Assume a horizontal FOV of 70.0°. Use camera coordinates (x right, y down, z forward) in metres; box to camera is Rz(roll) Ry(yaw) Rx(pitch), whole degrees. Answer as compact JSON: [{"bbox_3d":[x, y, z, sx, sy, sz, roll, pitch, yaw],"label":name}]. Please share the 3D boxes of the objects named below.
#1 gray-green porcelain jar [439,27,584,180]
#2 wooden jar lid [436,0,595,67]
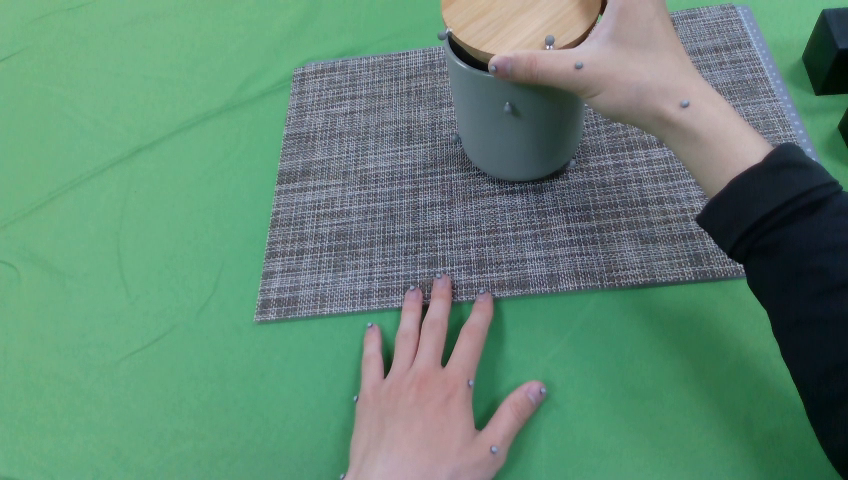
[{"bbox_3d":[0.072,-0.119,0.486,0.106,0.128,0.105,-5,56,8],"label":"gray-green porcelain jar"},{"bbox_3d":[0.063,-0.160,0.420,0.108,0.021,0.107,-3,62,6],"label":"wooden jar lid"}]
